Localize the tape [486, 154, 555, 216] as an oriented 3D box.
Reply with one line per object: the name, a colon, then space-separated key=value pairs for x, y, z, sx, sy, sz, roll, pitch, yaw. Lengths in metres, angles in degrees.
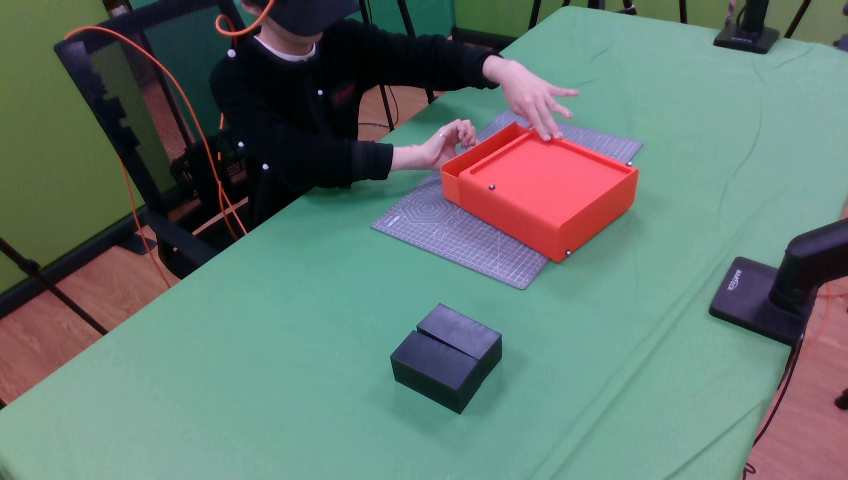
tape: x=0.164 y=-0.095 z=1.024 sx=0.117 sy=0.053 sz=0.116 roll=-4 pitch=40 yaw=4

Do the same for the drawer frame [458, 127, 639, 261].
drawer frame: x=0.202 y=-0.084 z=0.994 sx=0.202 sy=0.083 sz=0.211 roll=-34 pitch=47 yaw=-28

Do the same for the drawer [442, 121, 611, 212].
drawer: x=0.171 y=-0.102 z=1.021 sx=0.195 sy=0.073 sz=0.210 roll=-34 pitch=47 yaw=-28
